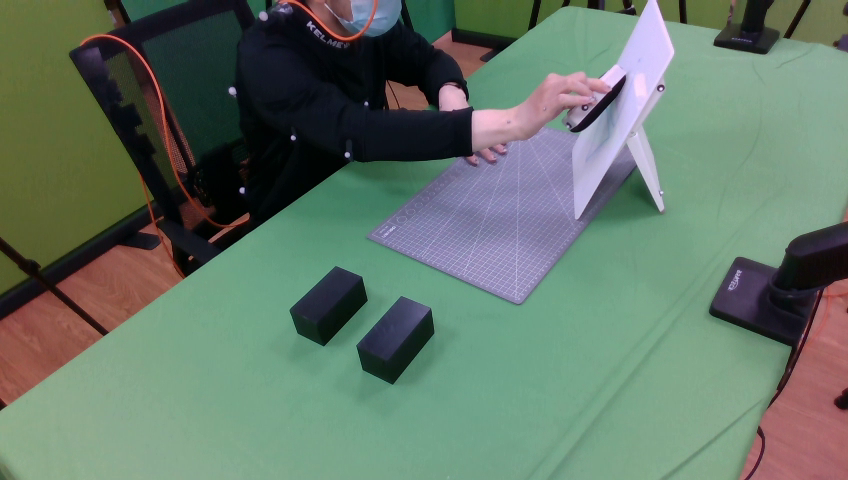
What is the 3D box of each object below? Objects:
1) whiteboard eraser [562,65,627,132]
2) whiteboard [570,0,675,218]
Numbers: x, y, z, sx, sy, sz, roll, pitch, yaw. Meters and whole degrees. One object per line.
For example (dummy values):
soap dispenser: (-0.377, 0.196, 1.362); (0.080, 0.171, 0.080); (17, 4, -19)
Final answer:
whiteboard eraser: (0.272, -0.222, 0.958); (0.042, 0.055, 0.112); (42, 90, 0)
whiteboard: (0.363, -0.187, 0.965); (0.144, 0.305, 0.216); (18, 42, -3)
